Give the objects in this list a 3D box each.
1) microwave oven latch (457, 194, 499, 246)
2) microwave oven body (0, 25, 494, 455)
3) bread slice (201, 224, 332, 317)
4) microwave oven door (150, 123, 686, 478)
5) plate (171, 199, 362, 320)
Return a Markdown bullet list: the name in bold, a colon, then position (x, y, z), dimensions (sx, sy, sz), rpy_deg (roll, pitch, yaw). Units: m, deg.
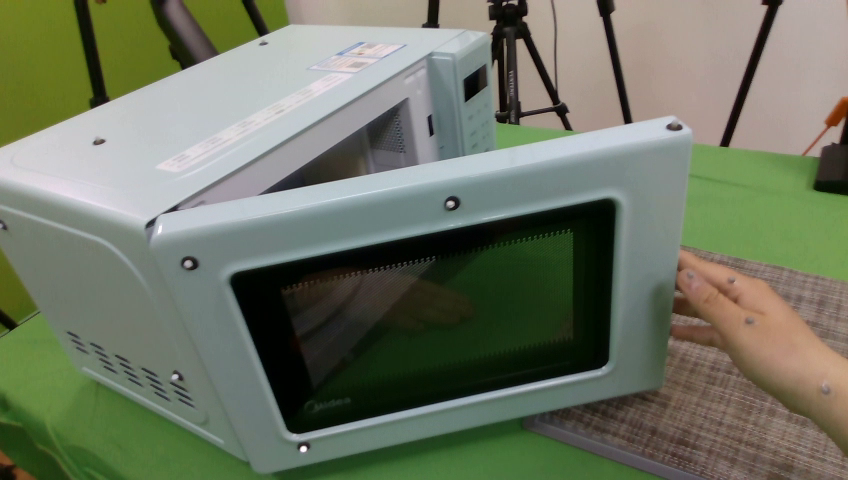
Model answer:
- **microwave oven latch**: position (0.068, -0.026, 0.768), dimensions (0.030, 0.030, 0.079), rpy_deg (14, 40, 31)
- **microwave oven body**: position (-0.163, -0.042, 0.669), dimensions (0.324, 0.262, 0.440), rpy_deg (13, 40, 30)
- **bread slice**: position (-0.171, 0.025, 0.675), dimensions (0.104, 0.019, 0.131), rpy_deg (21, 47, 37)
- **microwave oven door**: position (0.014, 0.058, 0.461), dimensions (0.356, 0.246, 0.039), rpy_deg (-11, 33, -3)
- **plate**: position (-0.169, 0.021, 0.669), dimensions (0.209, 0.038, 0.207), rpy_deg (-7, 33, 5)
